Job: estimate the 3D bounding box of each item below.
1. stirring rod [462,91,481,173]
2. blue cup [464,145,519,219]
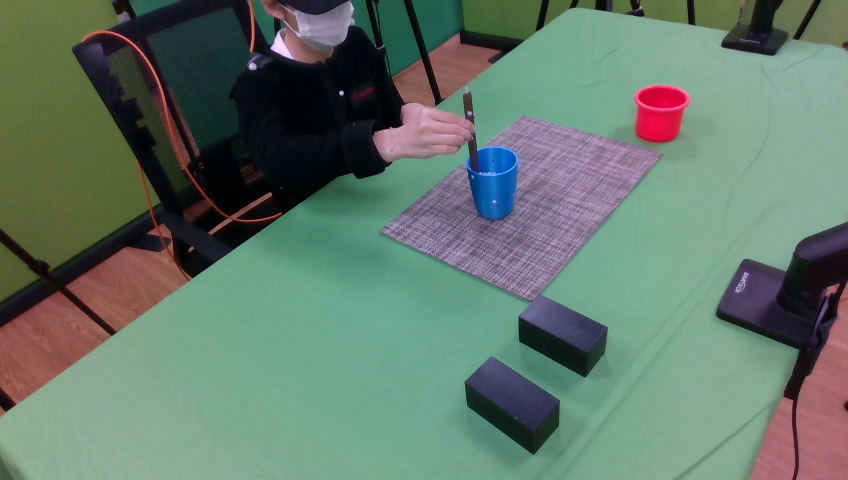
[{"bbox_3d":[0.075,-0.153,0.933,0.014,0.177,0.005,-30,47,-17],"label":"stirring rod"},{"bbox_3d":[0.115,-0.090,0.997,0.092,0.101,0.092,-5,41,5],"label":"blue cup"}]
